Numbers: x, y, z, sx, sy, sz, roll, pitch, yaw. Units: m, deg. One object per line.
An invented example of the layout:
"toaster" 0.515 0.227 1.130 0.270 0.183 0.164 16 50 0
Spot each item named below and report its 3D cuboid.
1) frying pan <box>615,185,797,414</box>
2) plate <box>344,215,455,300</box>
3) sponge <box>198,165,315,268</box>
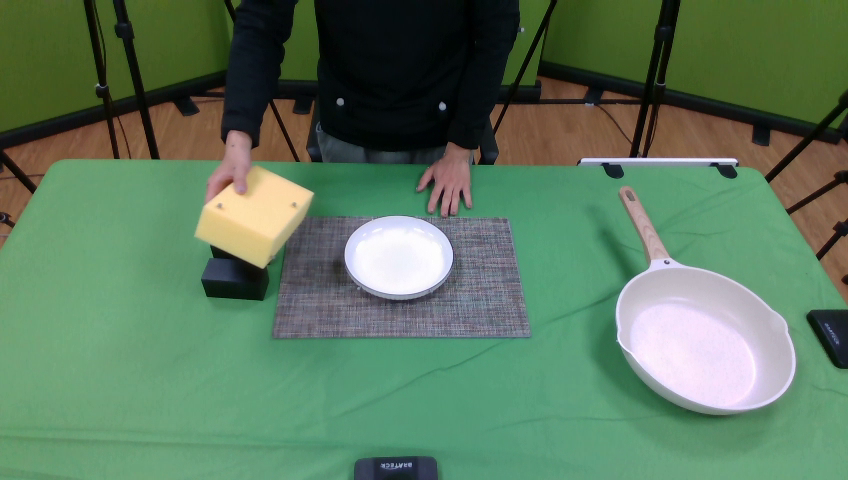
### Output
"frying pan" 0.450 0.087 1.092 0.307 0.103 0.484 -4 55 -10
"plate" -0.045 0.036 1.146 0.208 0.039 0.206 2 46 -2
"sponge" -0.278 -0.046 1.031 0.118 0.061 0.206 26 26 -4
